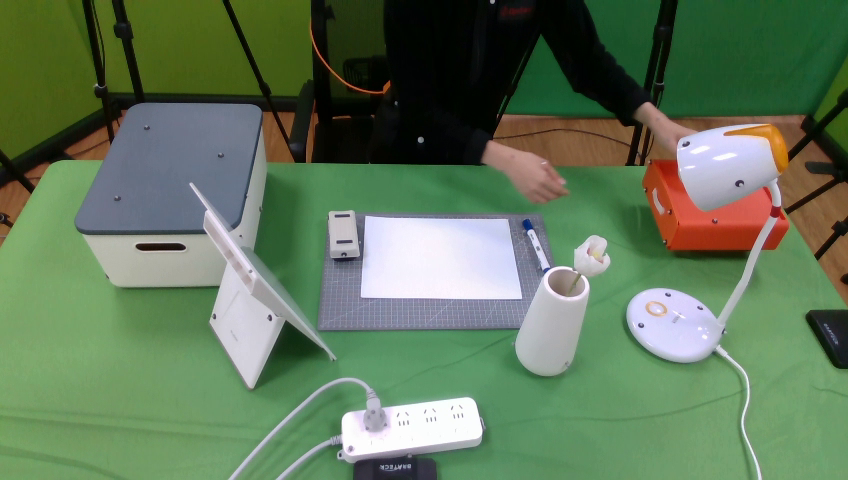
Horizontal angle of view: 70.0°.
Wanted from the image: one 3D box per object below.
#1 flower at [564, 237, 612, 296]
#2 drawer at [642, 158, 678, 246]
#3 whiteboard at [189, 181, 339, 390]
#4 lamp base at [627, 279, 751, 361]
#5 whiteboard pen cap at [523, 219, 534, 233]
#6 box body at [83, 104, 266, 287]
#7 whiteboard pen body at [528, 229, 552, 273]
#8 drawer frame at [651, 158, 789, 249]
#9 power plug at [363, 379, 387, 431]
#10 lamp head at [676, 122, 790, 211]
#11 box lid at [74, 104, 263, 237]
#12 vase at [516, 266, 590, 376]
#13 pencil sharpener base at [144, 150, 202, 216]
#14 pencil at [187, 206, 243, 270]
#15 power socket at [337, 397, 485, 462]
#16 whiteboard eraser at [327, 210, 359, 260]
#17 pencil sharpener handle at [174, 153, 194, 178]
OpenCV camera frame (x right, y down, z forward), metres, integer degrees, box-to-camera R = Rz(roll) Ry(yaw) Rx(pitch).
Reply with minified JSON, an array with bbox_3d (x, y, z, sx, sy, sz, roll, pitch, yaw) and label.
[{"bbox_3d":[0.206,0.088,0.892,0.038,0.363,0.044,-16,67,-9],"label":"flower"},{"bbox_3d":[0.566,-0.075,1.212,0.212,0.073,0.193,2,45,-2],"label":"drawer"},{"bbox_3d":[-0.292,0.096,0.929,0.144,0.307,0.216,-37,57,-10],"label":"whiteboard"},{"bbox_3d":[0.459,0.100,1.027,0.178,0.181,0.160,27,51,17],"label":"lamp base"},{"bbox_3d":[0.214,-0.027,1.239,0.018,0.018,0.033,-5,46,-9],"label":"whiteboard pen cap"},{"bbox_3d":[-0.447,-0.088,1.150,0.254,0.161,0.361,-1,46,-5],"label":"box body"},{"bbox_3d":[0.224,0.013,1.197,0.017,0.017,0.140,-5,45,-9],"label":"whiteboard pen body"},{"bbox_3d":[0.571,-0.075,1.214,0.214,0.083,0.200,0,45,-1],"label":"drawer frame"},{"bbox_3d":[-0.072,0.252,0.910,0.035,0.053,0.072,3,45,-1],"label":"power plug"},{"bbox_3d":[0.423,-0.104,0.819,0.122,0.113,0.112,-13,33,40],"label":"lamp head"},{"bbox_3d":[-0.443,-0.139,1.095,0.263,0.015,0.369,-1,45,-5],"label":"box lid"},{"bbox_3d":[0.208,0.132,0.964,0.098,0.201,0.097,3,46,-3],"label":"vase"},{"bbox_3d":[-0.493,-0.113,1.199,0.061,0.107,0.076,15,46,12],"label":"pencil sharpener base"},{"bbox_3d":[-0.401,-0.008,1.176,0.012,0.012,0.193,15,44,10],"label":"pencil"},{"bbox_3d":[-0.018,0.285,0.915,0.227,0.033,0.071,-5,46,-8],"label":"power socket"},{"bbox_3d":[-0.159,-0.009,1.177,0.055,0.042,0.112,-6,47,-7],"label":"whiteboard eraser"},{"bbox_3d":[-0.479,-0.156,1.225,0.036,0.068,0.030,24,48,2],"label":"pencil sharpener handle"}]
